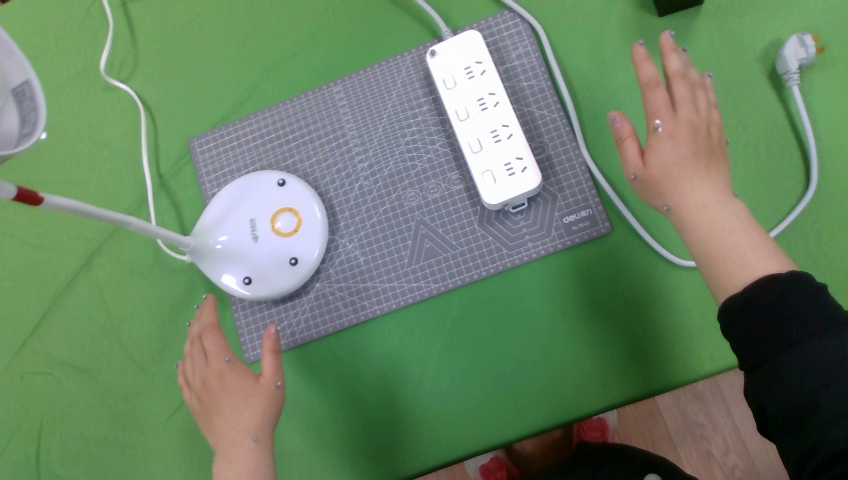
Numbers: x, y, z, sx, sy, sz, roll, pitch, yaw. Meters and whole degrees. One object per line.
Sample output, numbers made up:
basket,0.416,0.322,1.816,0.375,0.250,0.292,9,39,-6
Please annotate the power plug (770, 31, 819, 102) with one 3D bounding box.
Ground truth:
power plug,0.402,-0.188,0.653,0.053,0.035,0.073,-17,98,-4

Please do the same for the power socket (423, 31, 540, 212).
power socket,0.064,-0.139,0.699,0.072,0.033,0.225,-22,77,5

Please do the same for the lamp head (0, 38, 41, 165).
lamp head,-0.301,-0.067,0.338,0.123,0.113,0.112,-29,76,20

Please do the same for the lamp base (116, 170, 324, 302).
lamp base,-0.221,-0.014,0.653,0.179,0.181,0.159,-26,76,8

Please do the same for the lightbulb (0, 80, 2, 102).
lightbulb,-0.280,-0.075,0.325,0.107,0.060,0.059,-20,77,15
